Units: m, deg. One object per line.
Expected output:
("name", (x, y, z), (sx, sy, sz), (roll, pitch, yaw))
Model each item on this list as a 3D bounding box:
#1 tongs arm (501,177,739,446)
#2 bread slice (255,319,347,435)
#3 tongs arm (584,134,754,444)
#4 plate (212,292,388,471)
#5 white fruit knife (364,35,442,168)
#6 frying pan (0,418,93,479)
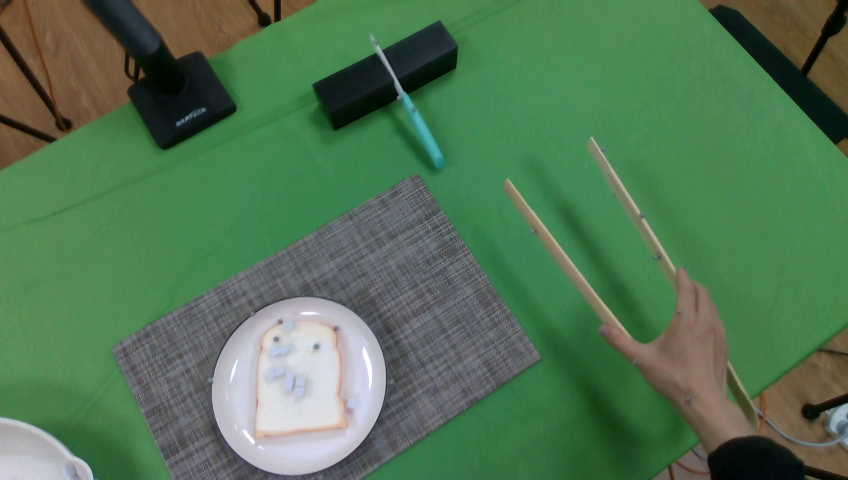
("tongs arm", (0.210, 0.077, 0.691), (0.028, 0.028, 0.385), (-33, 76, -17))
("bread slice", (-0.153, 0.164, 0.734), (0.107, 0.018, 0.133), (-8, 74, -4))
("tongs arm", (0.269, 0.046, 0.703), (0.051, 0.026, 0.382), (-25, 75, -11))
("plate", (-0.146, 0.168, 0.731), (0.208, 0.039, 0.206), (0, 72, 0))
("white fruit knife", (-0.031, -0.191, 0.829), (0.016, 0.027, 0.207), (-30, 89, -11))
("frying pan", (-0.426, 0.417, 0.618), (0.307, 0.103, 0.483), (-35, 67, -10))
